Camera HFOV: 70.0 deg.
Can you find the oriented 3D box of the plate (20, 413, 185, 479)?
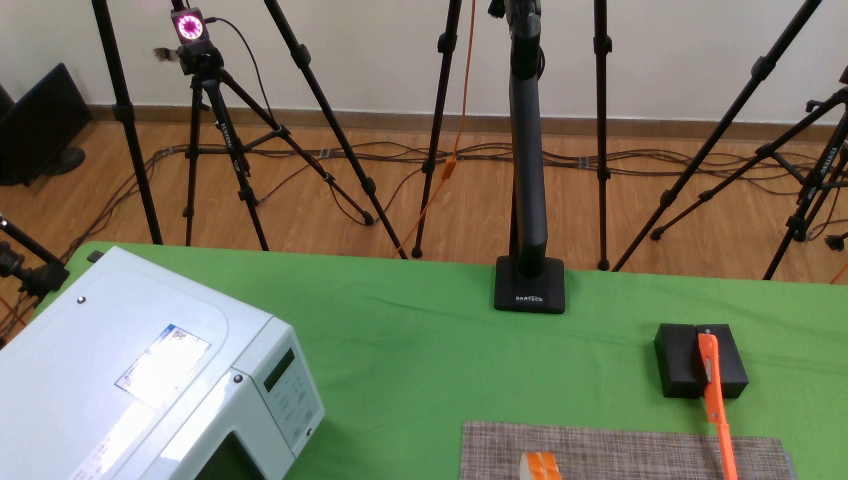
[{"bbox_3d":[-0.411,0.325,0.776,0.208,0.039,0.205,1,48,0],"label":"plate"}]

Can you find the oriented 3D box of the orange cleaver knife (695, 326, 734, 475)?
[{"bbox_3d":[0.409,0.221,0.861,0.012,0.078,0.210,-2,70,6],"label":"orange cleaver knife"}]

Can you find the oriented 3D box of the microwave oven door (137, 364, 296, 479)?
[{"bbox_3d":[-0.285,0.338,0.678,0.039,0.246,0.354,20,53,20],"label":"microwave oven door"}]

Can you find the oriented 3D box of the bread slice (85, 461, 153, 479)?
[{"bbox_3d":[-0.409,0.350,0.764,0.135,0.018,0.106,-12,48,-20],"label":"bread slice"}]

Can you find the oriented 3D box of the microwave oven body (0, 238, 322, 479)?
[{"bbox_3d":[-0.394,0.267,0.754,0.324,0.262,0.439,20,54,19],"label":"microwave oven body"}]

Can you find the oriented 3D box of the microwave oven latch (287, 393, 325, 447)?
[{"bbox_3d":[-0.175,0.256,0.877,0.030,0.030,0.079,21,55,20],"label":"microwave oven latch"}]
